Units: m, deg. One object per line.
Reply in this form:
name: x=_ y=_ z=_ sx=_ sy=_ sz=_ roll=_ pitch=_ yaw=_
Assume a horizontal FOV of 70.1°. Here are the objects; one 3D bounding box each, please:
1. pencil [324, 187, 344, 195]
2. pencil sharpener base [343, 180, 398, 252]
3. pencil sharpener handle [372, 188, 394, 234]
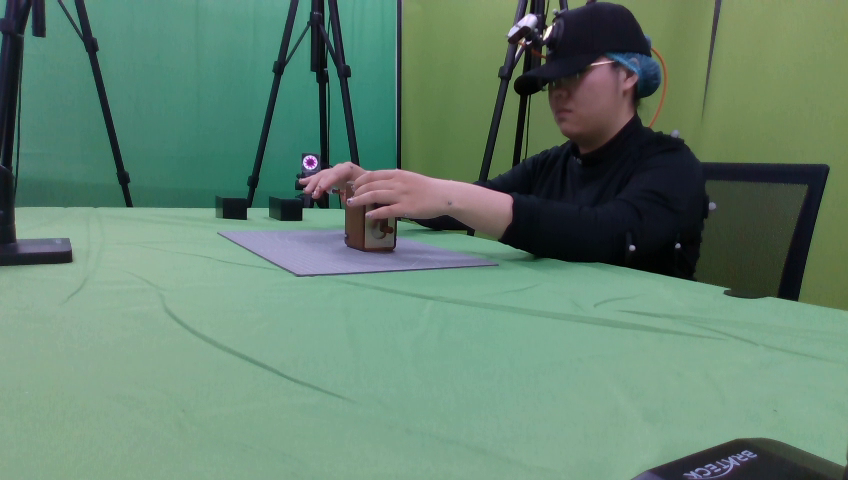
pencil: x=-0.126 y=-0.077 z=1.020 sx=0.012 sy=0.012 sz=0.193 roll=-2 pitch=10 yaw=-33
pencil sharpener base: x=-0.085 y=-0.038 z=0.956 sx=0.062 sy=0.107 sz=0.076 roll=-2 pitch=9 yaw=-33
pencil sharpener handle: x=-0.056 y=-0.044 z=0.913 sx=0.036 sy=0.067 sz=0.030 roll=-5 pitch=10 yaw=-32
